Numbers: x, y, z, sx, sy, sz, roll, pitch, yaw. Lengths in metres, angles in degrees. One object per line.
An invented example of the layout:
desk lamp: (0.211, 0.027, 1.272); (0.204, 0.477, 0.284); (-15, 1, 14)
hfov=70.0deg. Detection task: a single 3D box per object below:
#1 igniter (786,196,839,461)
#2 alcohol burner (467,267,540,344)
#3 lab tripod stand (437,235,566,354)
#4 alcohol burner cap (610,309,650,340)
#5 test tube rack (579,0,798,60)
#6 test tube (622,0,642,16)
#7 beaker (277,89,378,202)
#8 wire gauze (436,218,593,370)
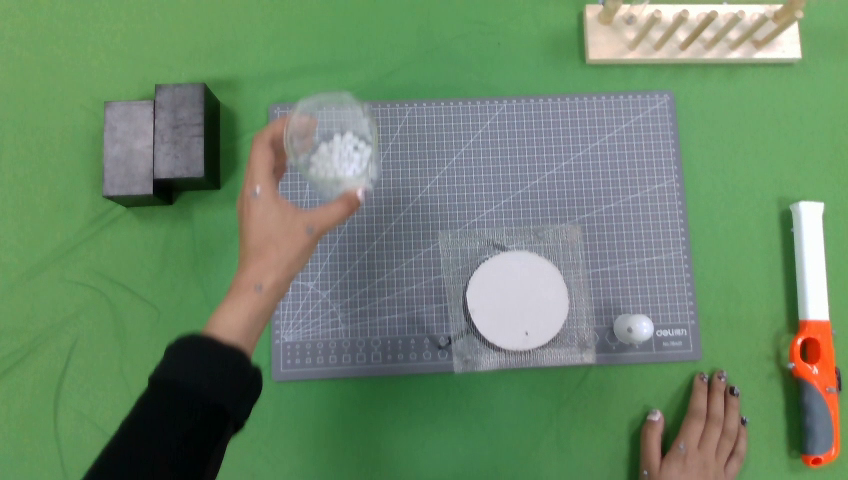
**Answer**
igniter: (0.407, 0.090, 0.640); (0.057, 0.025, 0.275); (3, 82, -11)
alcohol burner: (0.077, 0.062, 0.587); (0.078, 0.119, 0.077); (0, 80, -2)
lab tripod stand: (0.073, 0.057, 0.578); (0.148, 0.132, 0.148); (0, 81, 0)
alcohol burner cap: (0.215, 0.087, 0.624); (0.034, 0.048, 0.033); (0, 81, 0)
test tube rack: (0.300, -0.246, 0.654); (0.242, 0.085, 0.066); (-1, 82, -2)
test tube: (0.228, -0.272, 0.605); (0.017, 0.151, 0.017); (0, 77, -1)
beaker: (-0.075, -0.074, 0.524); (0.074, 0.100, 0.084); (-40, 85, -6)
wire gauze: (0.076, 0.044, 0.512); (0.125, 0.011, 0.121); (-4, 81, -3)
